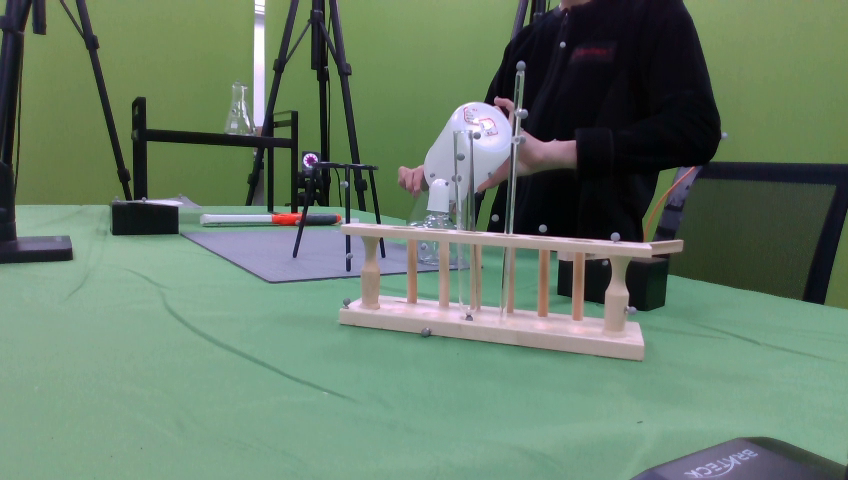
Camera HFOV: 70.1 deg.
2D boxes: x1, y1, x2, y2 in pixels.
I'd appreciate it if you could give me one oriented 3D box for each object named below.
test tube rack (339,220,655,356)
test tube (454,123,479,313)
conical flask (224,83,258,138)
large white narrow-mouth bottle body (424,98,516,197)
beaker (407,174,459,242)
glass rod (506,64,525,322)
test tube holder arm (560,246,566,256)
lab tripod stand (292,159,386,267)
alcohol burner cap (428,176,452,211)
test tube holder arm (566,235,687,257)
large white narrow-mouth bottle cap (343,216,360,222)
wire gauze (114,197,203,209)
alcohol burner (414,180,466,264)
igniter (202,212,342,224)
[{"bbox_3d":[0.056,0.032,0.495,0.242,0.085,0.067,4,7,15],"label":"test tube rack"},{"bbox_3d":[0.034,-0.016,0.477,0.017,0.150,0.017,-2,9,1],"label":"test tube"},{"bbox_3d":[-0.422,-0.299,1.395,0.075,0.122,0.075,2,7,0],"label":"conical flask"},{"bbox_3d":[0.057,-0.124,0.931,0.102,0.101,0.194,-1,-24,-23],"label":"large white narrow-mouth bottle body"},{"bbox_3d":[0.015,-0.052,1.040,0.074,0.100,0.083,7,41,-17],"label":"beaker"},{"bbox_3d":[0.069,-0.030,0.458,0.008,0.199,0.008,0,15,0],"label":"glass rod"},{"bbox_3d":[0.173,0.007,0.612,0.088,0.015,0.010,-3,9,-30],"label":"test tube holder arm"},{"bbox_3d":[-0.105,-0.039,0.798,0.148,0.131,0.148,2,5,0],"label":"lab tripod stand"},{"bbox_3d":[0.023,-0.064,0.822,0.034,0.048,0.034,7,5,0],"label":"alcohol burner cap"},{"bbox_3d":[0.215,0.006,0.630,0.179,0.015,0.013,-3,9,-31],"label":"test tube holder arm"},{"bbox_3d":[-0.148,-0.036,1.234,0.038,0.024,0.037,2,8,0],"label":"large white narrow-mouth bottle cap"},{"bbox_3d":[-0.447,-0.062,1.015,0.126,0.011,0.121,-2,8,-31],"label":"wire gauze"},{"bbox_3d":[0.021,-0.028,0.826,0.078,0.119,0.078,0,6,0],"label":"alcohol burner"},{"bbox_3d":[-0.298,-0.044,1.216,0.278,0.025,0.057,-2,-2,-32],"label":"igniter"}]
